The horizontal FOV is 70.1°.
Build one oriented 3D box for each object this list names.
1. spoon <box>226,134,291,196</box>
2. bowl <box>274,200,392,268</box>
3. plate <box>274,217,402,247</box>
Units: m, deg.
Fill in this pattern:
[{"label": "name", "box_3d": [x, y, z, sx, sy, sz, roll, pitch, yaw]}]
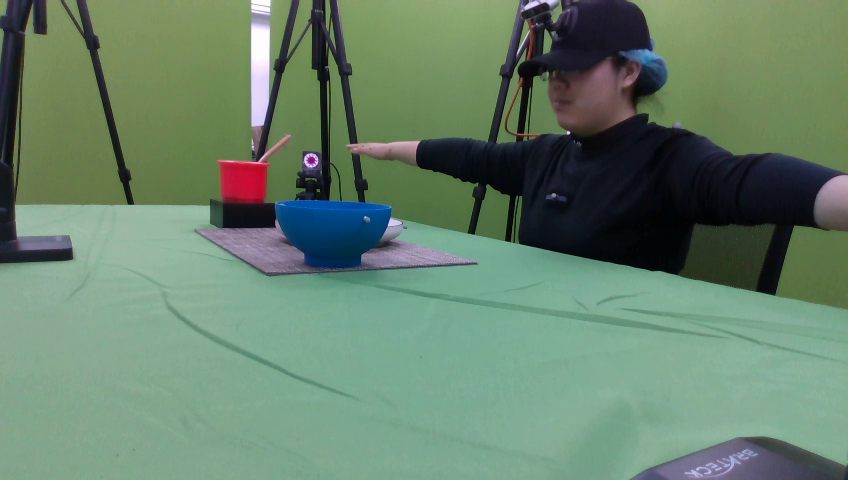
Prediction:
[{"label": "spoon", "box_3d": [-0.320, -0.149, 1.187, 0.041, 0.022, 0.194, 8, 53, 36]}, {"label": "bowl", "box_3d": [-0.117, -0.008, 0.781, 0.151, 0.077, 0.151, 3, 7, 0]}, {"label": "plate", "box_3d": [-0.140, -0.015, 0.993, 0.208, 0.039, 0.207, 3, 7, 0]}]
